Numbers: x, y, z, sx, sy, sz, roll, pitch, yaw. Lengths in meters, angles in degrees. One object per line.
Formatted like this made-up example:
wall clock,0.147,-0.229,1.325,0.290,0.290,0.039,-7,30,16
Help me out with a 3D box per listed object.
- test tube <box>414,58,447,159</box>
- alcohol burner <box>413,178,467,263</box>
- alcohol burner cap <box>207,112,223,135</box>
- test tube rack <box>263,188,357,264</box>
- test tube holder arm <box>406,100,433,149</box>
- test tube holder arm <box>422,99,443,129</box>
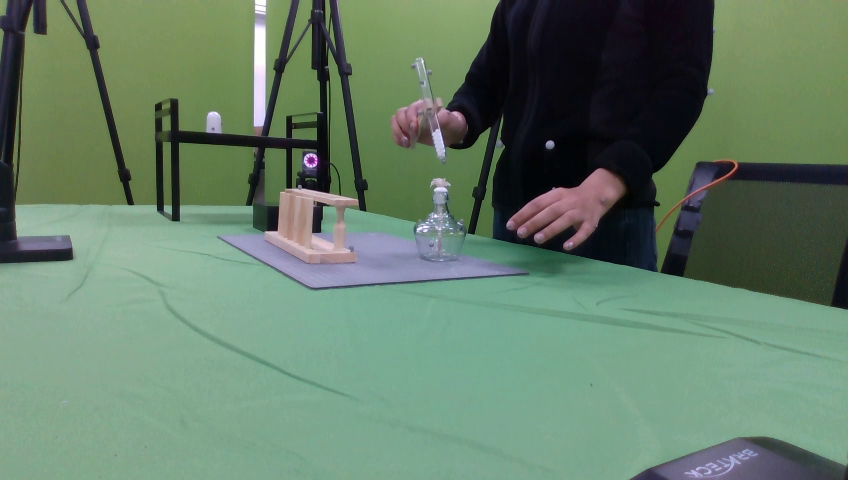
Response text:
test tube,0.010,-0.187,0.859,0.017,0.150,0.017,-13,-7,-1
alcohol burner,0.023,-0.029,0.864,0.078,0.119,0.078,1,6,0
alcohol burner cap,-0.440,-0.245,1.271,0.034,0.048,0.034,2,7,0
test tube rack,-0.175,-0.028,0.890,0.067,0.085,0.241,0,8,-28
test tube holder arm,-0.009,-0.173,0.923,0.013,0.015,0.178,-5,-9,-14
test tube holder arm,0.008,-0.182,0.881,0.010,0.015,0.087,-5,-9,-20
